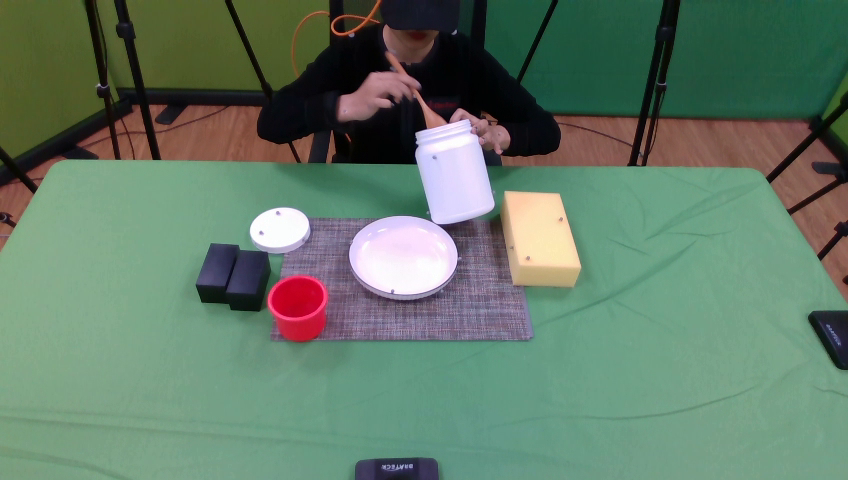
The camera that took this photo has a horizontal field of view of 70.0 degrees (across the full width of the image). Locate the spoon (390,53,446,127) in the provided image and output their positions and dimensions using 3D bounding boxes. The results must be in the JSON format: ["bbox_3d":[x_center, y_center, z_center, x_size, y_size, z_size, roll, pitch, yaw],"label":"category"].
[{"bbox_3d":[-0.009,-0.268,1.147,0.194,0.041,0.021,58,26,-5],"label":"spoon"}]

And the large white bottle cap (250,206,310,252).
[{"bbox_3d":[-0.284,-0.023,1.197,0.115,0.018,0.114,1,46,0],"label":"large white bottle cap"}]

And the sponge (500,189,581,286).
[{"bbox_3d":[0.224,-0.007,1.192,0.118,0.061,0.205,1,47,-6],"label":"sponge"}]

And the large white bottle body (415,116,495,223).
[{"bbox_3d":[0.056,-0.137,1.182,0.130,0.185,0.130,-14,11,3],"label":"large white bottle body"}]

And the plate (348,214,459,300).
[{"bbox_3d":[-0.040,0.034,1.146,0.209,0.038,0.208,2,47,-2],"label":"plate"}]
